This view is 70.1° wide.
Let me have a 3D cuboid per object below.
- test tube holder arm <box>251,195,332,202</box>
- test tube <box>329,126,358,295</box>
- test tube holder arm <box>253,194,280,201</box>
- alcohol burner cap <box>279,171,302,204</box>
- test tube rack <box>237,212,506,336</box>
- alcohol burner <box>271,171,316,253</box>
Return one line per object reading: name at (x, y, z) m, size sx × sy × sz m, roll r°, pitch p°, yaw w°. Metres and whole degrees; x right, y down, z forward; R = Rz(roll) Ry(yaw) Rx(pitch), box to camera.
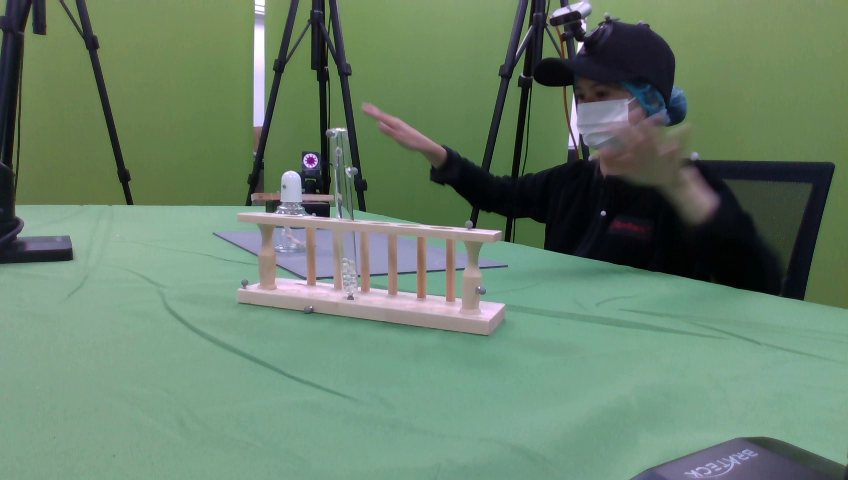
test tube holder arm at (-0.267, -0.085, 1.236) m, size 0.179 × 0.015 × 0.013 m, roll -3°, pitch 3°, yaw -42°
test tube at (-0.071, -0.025, 0.535) m, size 0.017 × 0.150 × 0.017 m, roll -3°, pitch 8°, yaw 1°
test tube holder arm at (-0.297, -0.084, 1.201) m, size 0.088 × 0.015 × 0.010 m, roll -3°, pitch 3°, yaw -41°
alcohol burner cap at (-0.195, -0.077, 0.880) m, size 0.034 × 0.048 × 0.034 m, roll 0°, pitch 6°, yaw 0°
test tube rack at (-0.049, 0.024, 0.552) m, size 0.242 × 0.085 × 0.067 m, roll 5°, pitch 8°, yaw 19°
alcohol burner at (-0.196, -0.041, 0.884) m, size 0.078 × 0.119 × 0.078 m, roll 3°, pitch 5°, yaw 0°
